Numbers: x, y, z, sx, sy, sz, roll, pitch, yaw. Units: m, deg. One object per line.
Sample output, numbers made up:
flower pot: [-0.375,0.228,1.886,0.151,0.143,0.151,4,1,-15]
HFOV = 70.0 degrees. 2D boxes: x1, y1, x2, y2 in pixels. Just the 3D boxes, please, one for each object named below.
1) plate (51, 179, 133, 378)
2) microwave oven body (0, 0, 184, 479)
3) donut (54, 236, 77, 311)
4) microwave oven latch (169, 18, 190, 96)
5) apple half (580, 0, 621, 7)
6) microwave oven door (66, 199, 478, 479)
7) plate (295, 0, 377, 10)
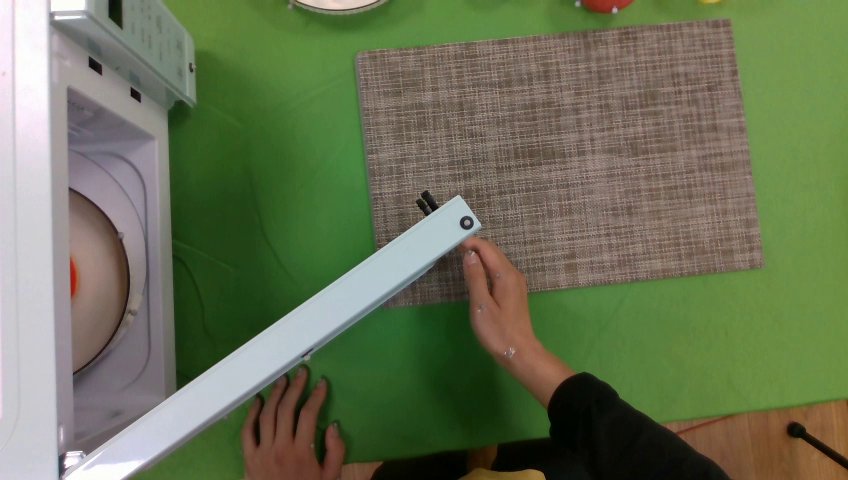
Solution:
plate: [-0.395,0.040,0.607,0.209,0.038,0.209,0,88,-3]
microwave oven body: [-0.409,-0.021,0.557,0.326,0.260,0.441,-4,88,-3]
donut: [-0.393,0.036,0.593,0.099,0.048,0.099,0,85,-2]
microwave oven latch: [-0.275,-0.201,0.666,0.030,0.029,0.079,-2,88,-2]
apple half: [0.194,-0.301,0.690,0.053,0.074,0.081,-33,92,1]
microwave oven door: [-0.112,0.084,0.558,0.356,0.244,0.039,-36,87,-3]
plate: [-0.102,-0.363,0.699,0.208,0.039,0.207,0,87,-2]
